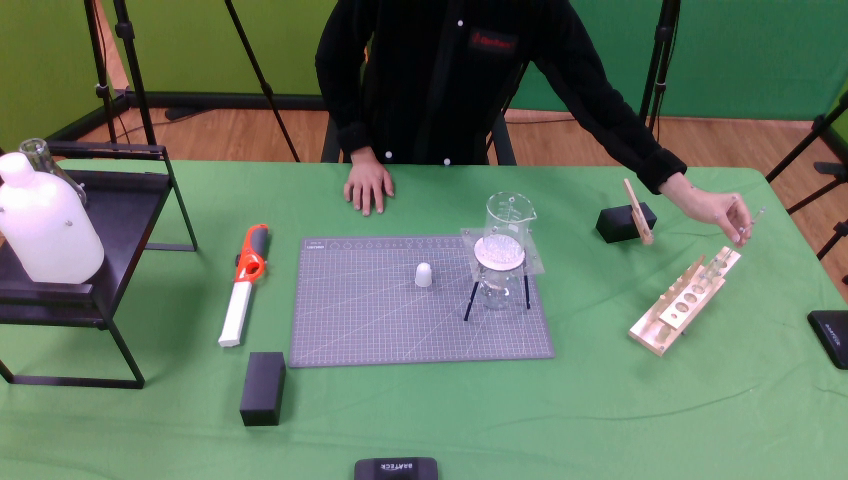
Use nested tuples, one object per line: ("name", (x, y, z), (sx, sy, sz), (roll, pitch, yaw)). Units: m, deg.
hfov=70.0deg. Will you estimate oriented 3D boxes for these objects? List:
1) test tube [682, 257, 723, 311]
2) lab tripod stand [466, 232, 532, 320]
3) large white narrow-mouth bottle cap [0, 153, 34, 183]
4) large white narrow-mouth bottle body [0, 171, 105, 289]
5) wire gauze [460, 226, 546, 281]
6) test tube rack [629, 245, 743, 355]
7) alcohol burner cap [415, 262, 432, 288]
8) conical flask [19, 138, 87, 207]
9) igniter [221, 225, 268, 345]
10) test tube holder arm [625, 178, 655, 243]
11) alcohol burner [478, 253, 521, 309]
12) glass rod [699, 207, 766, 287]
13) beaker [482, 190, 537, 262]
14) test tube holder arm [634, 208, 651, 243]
("test tube", (0.475, 0.080, 1.037), (0.017, 0.151, 0.017), (1, 51, -1))
("lab tripod stand", (0.125, 0.059, 1.065), (0.148, 0.132, 0.147), (1, 45, 0))
("large white narrow-mouth bottle cap", (-0.510, -0.090, 0.754), (0.038, 0.024, 0.037), (2, 46, -2))
("large white narrow-mouth bottle body", (-0.513, -0.029, 0.818), (0.102, 0.195, 0.101), (2, 46, -2))
("wire gauze", (0.130, 0.017, 1.016), (0.121, 0.011, 0.124), (-4, 42, -9))
("test tube rack", (0.474, 0.095, 1.091), (0.242, 0.085, 0.066), (-34, 56, -31))
("alcohol burner cap", (0.000, 0.061, 1.119), (0.034, 0.048, 0.033), (3, 43, -3))
("conical flask", (-0.576, -0.097, 0.930), (0.075, 0.122, 0.075), (2, 46, -2))
("igniter", (-0.323, 0.072, 1.100), (0.057, 0.025, 0.274), (-6, 45, 5))
("test tube holder arm", (0.433, -0.062, 1.220), (0.013, 0.015, 0.177), (1, 47, -3))
("alcohol burner", (0.134, 0.067, 1.073), (0.078, 0.120, 0.077), (0, 47, 0))
("glass rod", (0.530, 0.016, 1.050), (0.008, 0.200, 0.008), (9, 45, -8))
("beaker", (0.136, -0.019, 0.983), (0.084, 0.101, 0.073), (17, 47, 14))
("test tube holder arm", (0.428, -0.030, 1.189), (0.010, 0.015, 0.087), (2, 47, -2))
